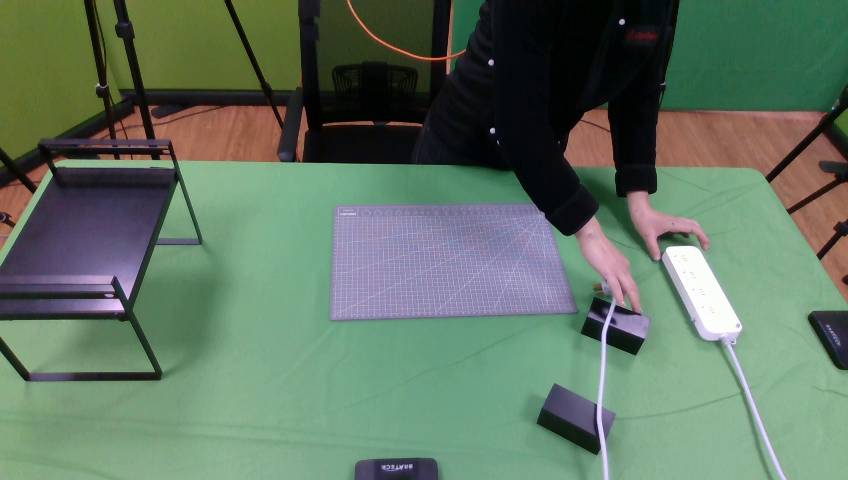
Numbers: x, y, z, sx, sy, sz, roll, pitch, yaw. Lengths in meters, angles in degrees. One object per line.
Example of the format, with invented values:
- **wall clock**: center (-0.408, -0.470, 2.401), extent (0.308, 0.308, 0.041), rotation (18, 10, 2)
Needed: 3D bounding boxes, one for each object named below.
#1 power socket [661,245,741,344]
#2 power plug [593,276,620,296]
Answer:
- **power socket**: center (0.515, 0.094, 1.137), extent (0.072, 0.033, 0.225), rotation (-3, 47, -5)
- **power plug**: center (0.332, 0.086, 1.115), extent (0.052, 0.035, 0.073), rotation (-16, -4, 28)
